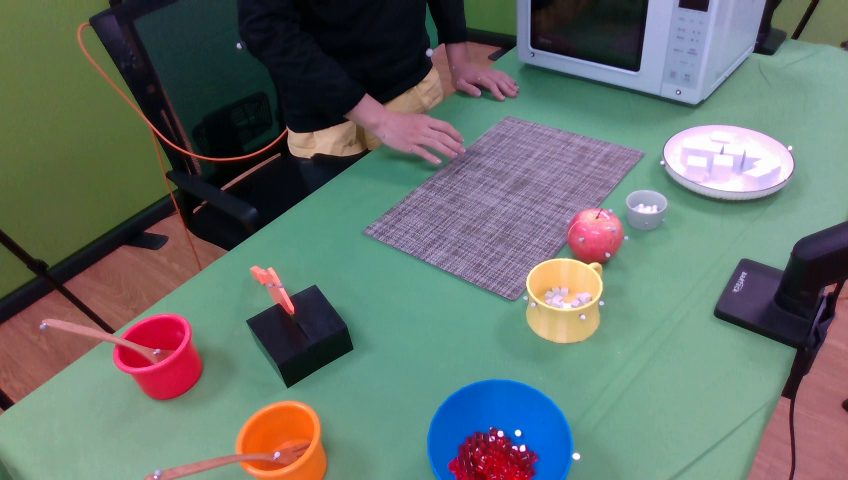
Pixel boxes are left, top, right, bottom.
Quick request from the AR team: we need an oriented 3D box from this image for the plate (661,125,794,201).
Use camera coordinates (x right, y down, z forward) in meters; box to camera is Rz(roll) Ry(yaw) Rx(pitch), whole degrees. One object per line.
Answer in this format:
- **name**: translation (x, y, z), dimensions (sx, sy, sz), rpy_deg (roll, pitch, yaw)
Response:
- **plate**: translation (0.513, -0.128, 1.035), dimensions (0.207, 0.039, 0.206), rpy_deg (-4, 40, 4)

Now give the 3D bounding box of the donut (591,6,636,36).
- **donut**: translation (0.427, -0.496, 1.363), dimensions (0.099, 0.048, 0.098), rpy_deg (-4, 40, 4)

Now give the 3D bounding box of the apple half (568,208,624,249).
- **apple half**: translation (0.259, -0.014, 0.914), dimensions (0.080, 0.075, 0.053), rpy_deg (0, 36, 15)

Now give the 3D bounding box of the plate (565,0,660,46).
- **plate**: translation (0.427, -0.490, 1.376), dimensions (0.209, 0.038, 0.208), rpy_deg (-5, 40, 5)

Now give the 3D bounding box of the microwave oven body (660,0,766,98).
- **microwave oven body**: translation (0.472, -0.513, 1.317), dimensions (0.438, 0.261, 0.327), rpy_deg (26, 51, 34)

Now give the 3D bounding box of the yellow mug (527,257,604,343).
- **yellow mug**: translation (0.201, 0.072, 0.825), dimensions (0.131, 0.064, 0.099), rpy_deg (-32, 46, -27)

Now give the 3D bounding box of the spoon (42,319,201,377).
- **spoon**: translation (-0.385, 0.135, 0.779), dimensions (0.195, 0.021, 0.041), rpy_deg (29, 37, -26)

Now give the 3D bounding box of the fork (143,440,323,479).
- **fork**: translation (-0.189, 0.231, 0.631), dimensions (0.028, 0.018, 0.209), rpy_deg (38, 14, 37)

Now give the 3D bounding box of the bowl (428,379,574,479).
- **bowl**: translation (0.082, 0.233, 0.644), dimensions (0.151, 0.077, 0.150), rpy_deg (-4, 40, 4)

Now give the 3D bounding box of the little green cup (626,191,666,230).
- **little green cup**: translation (0.352, -0.046, 0.963), dimensions (0.061, 0.039, 0.061), rpy_deg (-4, 40, 4)

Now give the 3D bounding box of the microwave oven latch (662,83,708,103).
- **microwave oven latch**: translation (0.517, -0.296, 1.204), dimensions (0.078, 0.029, 0.030), rpy_deg (27, 52, 35)

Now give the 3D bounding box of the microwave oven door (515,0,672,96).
- **microwave oven door**: translation (0.343, -0.454, 1.259), dimensions (0.353, 0.245, 0.039), rpy_deg (26, 51, 33)

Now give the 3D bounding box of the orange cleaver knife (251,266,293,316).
- **orange cleaver knife**: translation (-0.221, 0.071, 0.873), dimensions (0.012, 0.077, 0.210), rpy_deg (-25, 11, -21)

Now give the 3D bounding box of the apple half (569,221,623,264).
- **apple half**: translation (0.251, 0.010, 0.884), dimensions (0.081, 0.081, 0.032), rpy_deg (3, 37, 12)
